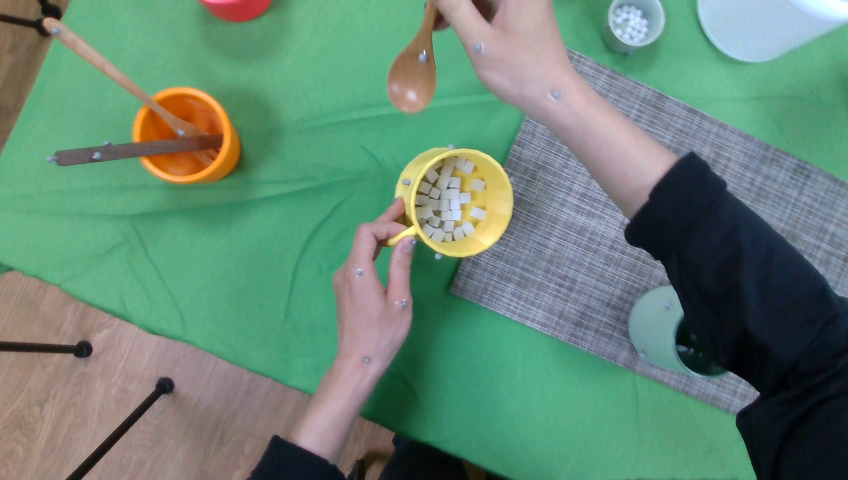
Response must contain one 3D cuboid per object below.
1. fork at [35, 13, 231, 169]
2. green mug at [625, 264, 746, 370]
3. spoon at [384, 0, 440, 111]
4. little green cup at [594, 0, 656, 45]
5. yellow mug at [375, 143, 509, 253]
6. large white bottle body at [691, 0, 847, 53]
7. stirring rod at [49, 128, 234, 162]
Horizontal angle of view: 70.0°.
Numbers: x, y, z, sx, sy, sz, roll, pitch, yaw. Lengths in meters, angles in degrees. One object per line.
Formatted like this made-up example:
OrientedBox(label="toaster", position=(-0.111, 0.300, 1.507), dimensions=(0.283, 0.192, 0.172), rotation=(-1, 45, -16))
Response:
OrientedBox(label="fork", position=(-0.266, -0.135, 0.574), dimensions=(0.028, 0.018, 0.209), rotation=(-51, 137, -5))
OrientedBox(label="green mug", position=(0.282, 0.075, 0.638), dimensions=(0.092, 0.105, 0.125), rotation=(40, 88, -3))
OrientedBox(label="spoon", position=(0.006, -0.167, 0.436), dimensions=(0.041, 0.195, 0.021), rotation=(26, 56, 0))
OrientedBox(label="little green cup", position=(0.217, -0.245, 0.665), dimensions=(0.061, 0.038, 0.061), rotation=(0, 91, -4))
OrientedBox(label="yellow mug", position=(0.011, -0.034, 0.577), dimensions=(0.131, 0.063, 0.100), rotation=(-32, 106, -8))
OrientedBox(label="large white bottle body", position=(0.369, -0.277, 0.602), dimensions=(0.131, 0.184, 0.130), rotation=(0, 90, -3))
OrientedBox(label="stirring rod", position=(-0.261, -0.092, 0.580), dimensions=(0.176, 0.006, 0.014), rotation=(-19, 94, -46))
